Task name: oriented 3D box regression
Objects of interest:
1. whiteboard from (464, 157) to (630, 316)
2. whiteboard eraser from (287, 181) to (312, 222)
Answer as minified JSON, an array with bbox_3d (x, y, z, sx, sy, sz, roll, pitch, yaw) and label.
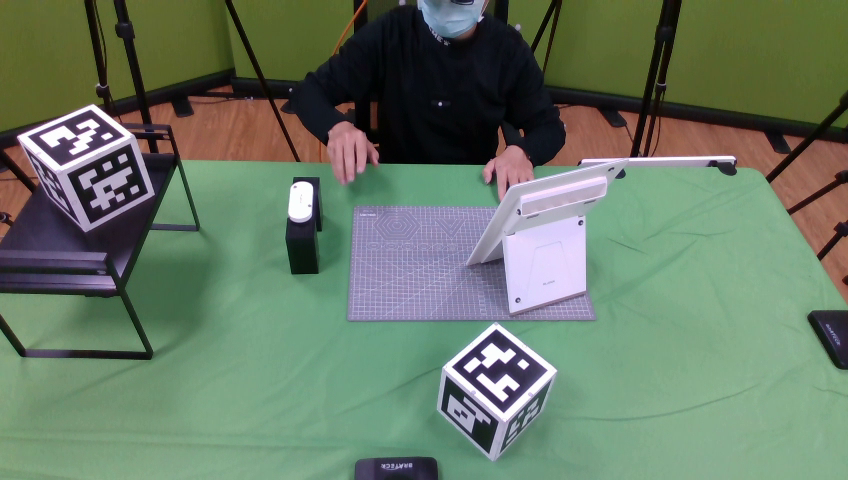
[{"bbox_3d":[0.224,0.015,1.042,0.217,0.306,0.143,-14,68,-17],"label":"whiteboard"},{"bbox_3d":[-0.227,-0.071,1.111,0.041,0.019,0.100,-2,46,-5],"label":"whiteboard eraser"}]
